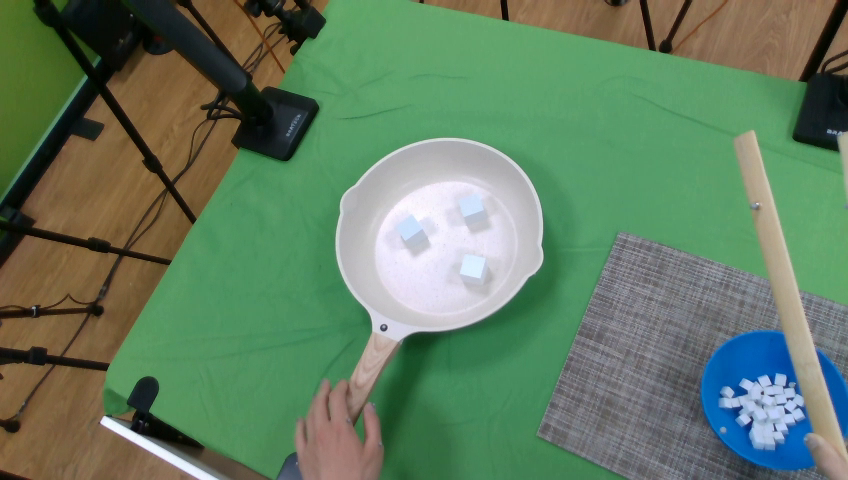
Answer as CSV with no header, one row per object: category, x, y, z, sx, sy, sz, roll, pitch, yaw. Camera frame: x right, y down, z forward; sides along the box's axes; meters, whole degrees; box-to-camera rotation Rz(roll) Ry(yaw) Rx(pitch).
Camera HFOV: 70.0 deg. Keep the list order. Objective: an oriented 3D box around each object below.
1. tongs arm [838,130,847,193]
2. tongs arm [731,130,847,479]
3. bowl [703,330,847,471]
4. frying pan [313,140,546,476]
tongs arm,0.416,0.080,0.566,0.051,0.026,0.383,-2,81,-18
tongs arm,0.346,0.086,0.544,0.028,0.028,0.386,-13,84,-23
bowl,0.390,0.184,0.685,0.151,0.077,0.150,-5,66,11
frying pan,-0.020,0.081,0.816,0.305,0.104,0.485,19,64,21
